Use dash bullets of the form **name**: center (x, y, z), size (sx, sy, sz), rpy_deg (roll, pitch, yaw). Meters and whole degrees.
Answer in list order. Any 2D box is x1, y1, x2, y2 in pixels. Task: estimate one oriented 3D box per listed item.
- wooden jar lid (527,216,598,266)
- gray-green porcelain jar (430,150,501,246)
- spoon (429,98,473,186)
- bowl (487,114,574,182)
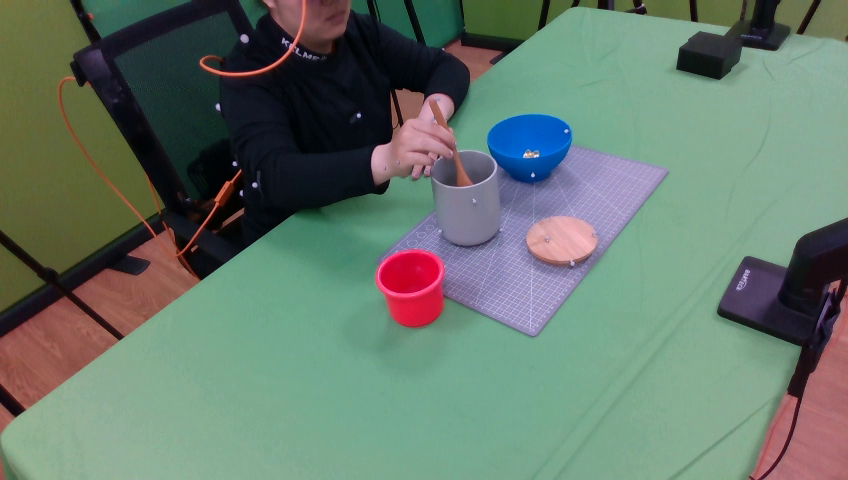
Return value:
- **wooden jar lid**: center (0.214, 0.003, 0.937), size (0.108, 0.021, 0.108), rpy_deg (-4, 40, 4)
- **gray-green porcelain jar**: center (0.069, -0.062, 0.959), size (0.106, 0.127, 0.105), rpy_deg (-5, 40, 5)
- **spoon**: center (0.046, -0.125, 0.905), size (0.041, 0.195, 0.022), rpy_deg (0, 35, 37)
- **bowl**: center (0.190, -0.156, 1.085), size (0.151, 0.077, 0.150), rpy_deg (-5, 40, 5)
